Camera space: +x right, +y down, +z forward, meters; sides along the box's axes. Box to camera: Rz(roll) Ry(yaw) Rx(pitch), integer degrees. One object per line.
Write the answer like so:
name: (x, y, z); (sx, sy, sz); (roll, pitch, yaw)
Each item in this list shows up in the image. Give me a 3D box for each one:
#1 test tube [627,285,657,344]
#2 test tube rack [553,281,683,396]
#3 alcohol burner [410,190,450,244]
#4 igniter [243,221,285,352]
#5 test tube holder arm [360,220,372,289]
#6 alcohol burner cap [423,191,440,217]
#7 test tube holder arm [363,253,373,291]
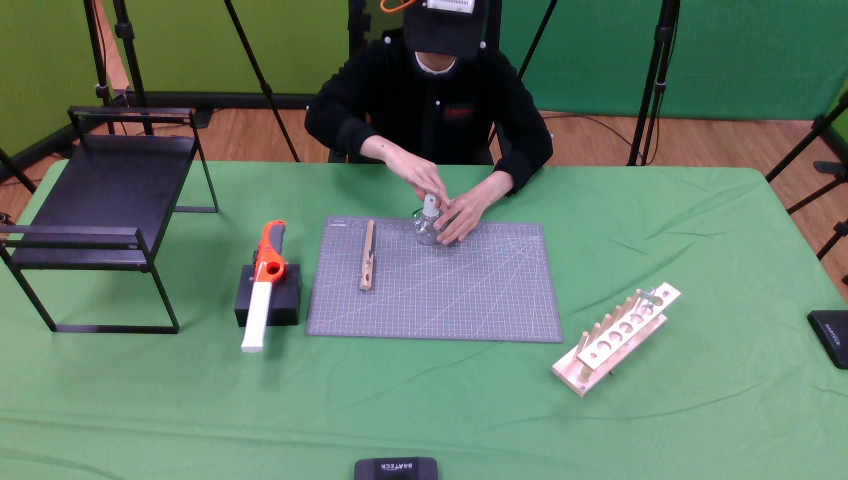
test tube: (0.349, 0.124, 0.983); (0.017, 0.151, 0.017); (0, 49, 0)
test tube rack: (0.328, 0.153, 1.023); (0.242, 0.085, 0.066); (-30, 54, -28)
alcohol burner: (0.013, -0.049, 1.175); (0.078, 0.120, 0.077); (2, 45, -2)
igniter: (-0.273, 0.069, 1.041); (0.057, 0.025, 0.274); (2, 48, -6)
test tube holder arm: (-0.110, 0.024, 1.161); (0.013, 0.015, 0.177); (27, 38, -26)
alcohol burner cap: (0.016, -0.071, 1.153); (0.034, 0.048, 0.033); (2, 46, -2)
test tube holder arm: (-0.104, 0.058, 1.132); (0.010, 0.015, 0.087); (27, 38, -25)
